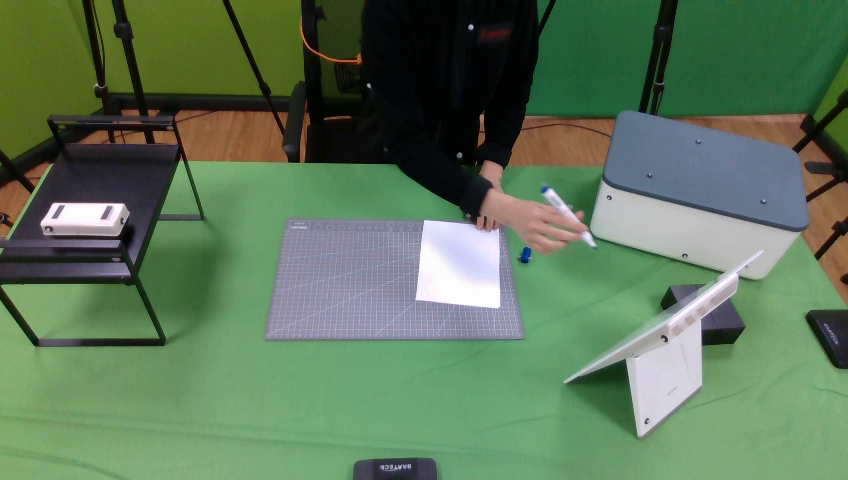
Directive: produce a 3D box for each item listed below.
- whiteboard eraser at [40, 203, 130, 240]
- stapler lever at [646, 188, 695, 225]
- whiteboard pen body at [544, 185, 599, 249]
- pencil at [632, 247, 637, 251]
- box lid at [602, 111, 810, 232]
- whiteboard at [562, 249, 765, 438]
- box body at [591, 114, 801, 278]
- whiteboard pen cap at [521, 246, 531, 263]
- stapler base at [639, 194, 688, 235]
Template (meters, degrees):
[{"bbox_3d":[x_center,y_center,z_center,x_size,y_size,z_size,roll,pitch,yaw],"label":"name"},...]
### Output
[{"bbox_3d":[-0.513,-0.028,0.922,0.113,0.042,0.055,1,48,-3],"label":"whiteboard eraser"},{"bbox_3d":[0.516,-0.078,1.265,0.027,0.040,0.117,0,41,-31],"label":"stapler lever"},{"bbox_3d":[0.238,-0.034,0.965,0.141,0.017,0.017,46,47,-17],"label":"whiteboard pen body"},{"bbox_3d":[0.431,-0.060,1.284,0.012,0.012,0.193,3,56,-2],"label":"pencil"},{"bbox_3d":[0.545,-0.143,1.176,0.371,0.015,0.262,15,47,11],"label":"box lid"},{"bbox_3d":[0.386,0.175,0.905,0.217,0.306,0.143,-26,72,-26],"label":"whiteboard"},{"bbox_3d":[0.540,-0.092,1.230,0.363,0.161,0.253,16,47,11],"label":"box body"},{"bbox_3d":[0.200,0.029,1.188,0.018,0.018,0.033,14,47,9],"label":"whiteboard pen cap"},{"bbox_3d":[0.510,-0.059,1.278,0.041,0.024,0.129,0,39,-31],"label":"stapler base"}]
